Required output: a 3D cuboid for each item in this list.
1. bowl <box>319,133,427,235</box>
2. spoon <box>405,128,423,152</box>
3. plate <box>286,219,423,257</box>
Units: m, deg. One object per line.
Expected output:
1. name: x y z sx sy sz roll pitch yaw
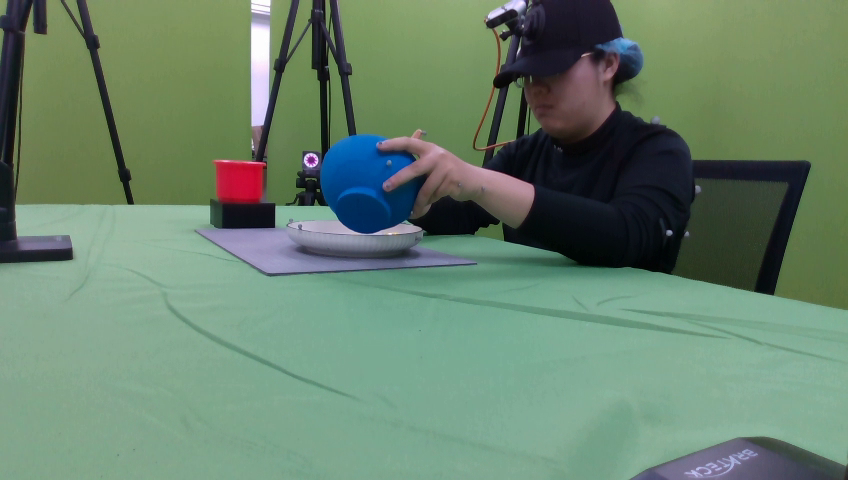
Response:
1. bowl: -0.076 -0.060 0.821 0.151 0.151 0.077 3 44 8
2. spoon: -0.049 -0.101 0.899 0.041 0.022 0.194 11 51 29
3. plate: -0.105 -0.003 0.922 0.208 0.039 0.207 3 7 0
